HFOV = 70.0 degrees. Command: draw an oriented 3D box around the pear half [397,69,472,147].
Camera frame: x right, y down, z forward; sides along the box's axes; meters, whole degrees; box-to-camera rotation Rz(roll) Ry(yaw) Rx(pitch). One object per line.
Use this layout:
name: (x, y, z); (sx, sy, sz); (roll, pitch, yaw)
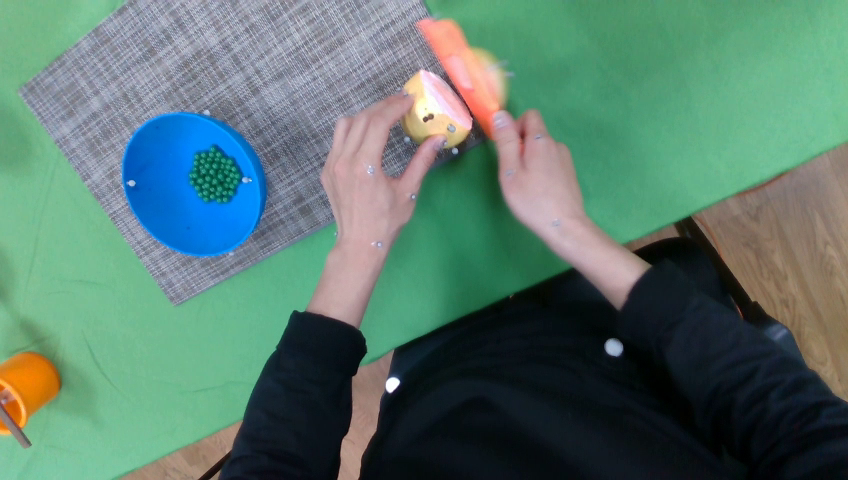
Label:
pear half: (0.003, -0.116, 0.571); (0.076, 0.109, 0.056); (43, 113, -3)

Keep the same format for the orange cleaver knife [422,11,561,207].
orange cleaver knife: (0.063, -0.120, 0.565); (0.012, 0.076, 0.212); (-38, 108, -15)

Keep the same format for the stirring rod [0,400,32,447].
stirring rod: (-0.551, 0.191, 0.763); (0.014, 0.006, 0.177); (-22, 106, 15)

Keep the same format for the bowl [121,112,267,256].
bowl: (-0.230, -0.066, 0.647); (0.151, 0.076, 0.152); (3, 111, 9)

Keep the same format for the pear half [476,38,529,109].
pear half: (0.072, -0.163, 0.575); (0.071, 0.031, 0.087); (52, 145, -16)

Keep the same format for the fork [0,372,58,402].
fork: (-0.591, 0.219, 0.782); (0.208, 0.018, 0.028); (-21, 122, -29)
